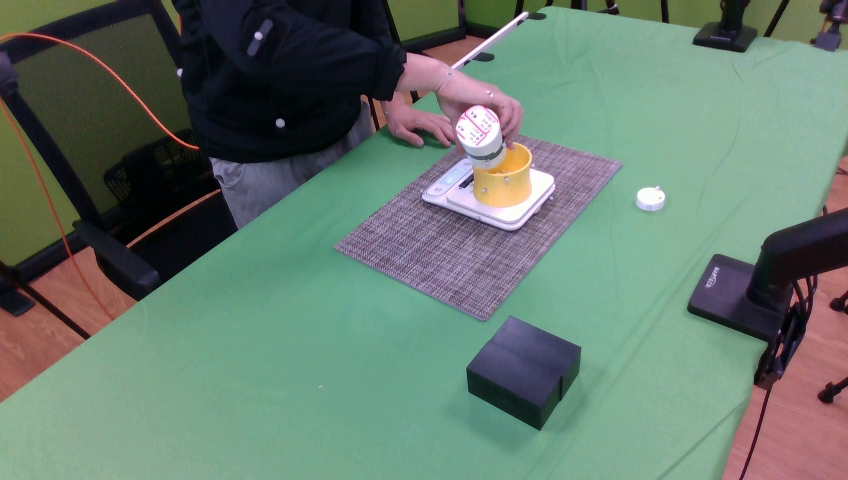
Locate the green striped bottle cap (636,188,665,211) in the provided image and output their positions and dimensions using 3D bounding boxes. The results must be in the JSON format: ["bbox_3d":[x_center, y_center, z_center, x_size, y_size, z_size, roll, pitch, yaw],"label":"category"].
[{"bbox_3d":[0.374,-0.067,0.998,0.044,0.020,0.044,-6,39,5],"label":"green striped bottle cap"}]

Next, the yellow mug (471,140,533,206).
[{"bbox_3d":[0.125,-0.121,1.004,0.100,0.064,0.130,-13,41,-5],"label":"yellow mug"}]

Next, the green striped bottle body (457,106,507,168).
[{"bbox_3d":[0.090,-0.148,0.906,0.063,0.120,0.063,-3,77,13],"label":"green striped bottle body"}]

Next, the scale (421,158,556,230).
[{"bbox_3d":[0.110,-0.089,1.042,0.199,0.032,0.149,23,48,31],"label":"scale"}]
